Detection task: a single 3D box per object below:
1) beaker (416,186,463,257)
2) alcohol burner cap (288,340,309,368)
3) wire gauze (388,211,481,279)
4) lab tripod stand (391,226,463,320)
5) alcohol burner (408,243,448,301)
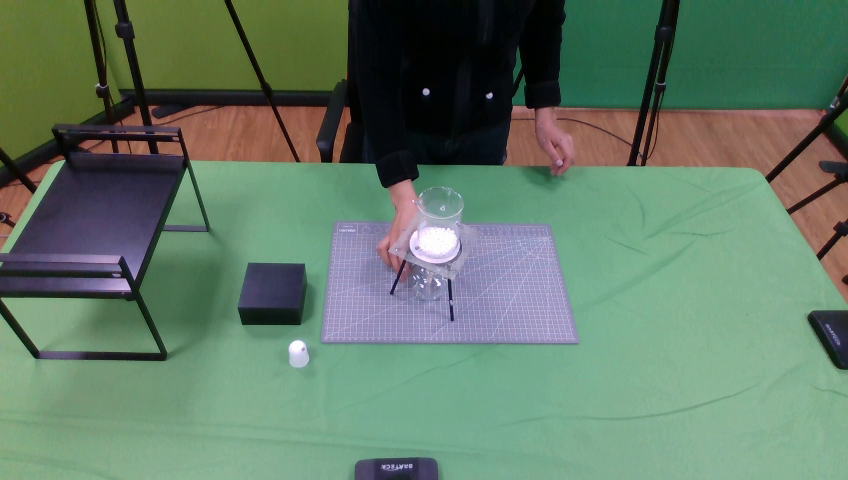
[{"bbox_3d":[0.024,-0.029,0.984,0.074,0.101,0.083,19,48,14],"label":"beaker"},{"bbox_3d":[-0.207,0.183,0.991,0.034,0.048,0.033,2,47,-2],"label":"alcohol burner cap"},{"bbox_3d":[0.018,0.003,1.020,0.125,0.011,0.121,20,47,18],"label":"wire gauze"},{"bbox_3d":[0.014,0.053,1.063,0.148,0.132,0.147,1,48,-1],"label":"lab tripod stand"},{"bbox_3d":[0.010,0.052,1.078,0.078,0.120,0.077,1,45,0],"label":"alcohol burner"}]
